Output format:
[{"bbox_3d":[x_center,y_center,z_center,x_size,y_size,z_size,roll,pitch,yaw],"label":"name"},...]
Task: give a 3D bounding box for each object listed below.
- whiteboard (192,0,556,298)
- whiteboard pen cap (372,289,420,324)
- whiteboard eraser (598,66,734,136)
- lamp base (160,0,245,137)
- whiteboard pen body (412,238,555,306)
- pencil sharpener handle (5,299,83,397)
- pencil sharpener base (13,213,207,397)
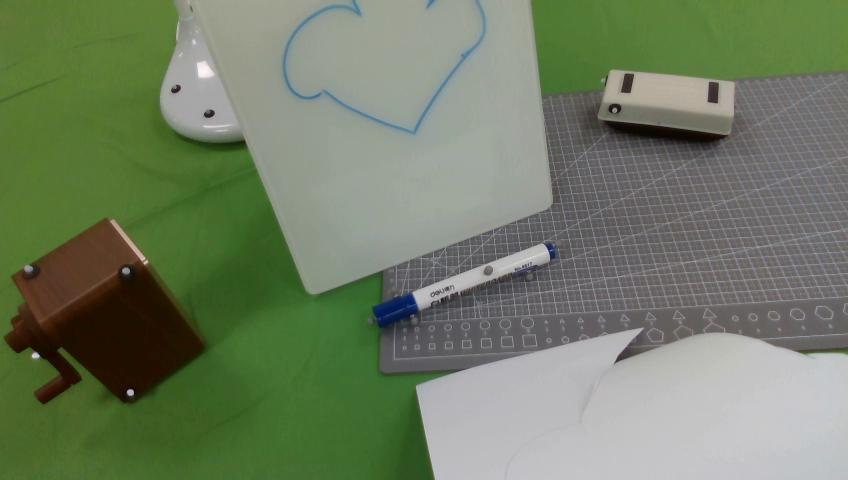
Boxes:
[{"bbox_3d":[-0.041,-0.149,0.466,0.217,0.308,0.142,-20,32,-9],"label":"whiteboard"},{"bbox_3d":[-0.020,0.048,0.446,0.033,0.018,0.018,-21,52,-9],"label":"whiteboard pen cap"},{"bbox_3d":[0.218,-0.125,0.548,0.112,0.042,0.055,11,54,15],"label":"whiteboard eraser"},{"bbox_3d":[-0.212,-0.218,0.584,0.177,0.182,0.160,30,60,30],"label":"lamp base"},{"bbox_3d":[0.034,0.028,0.455,0.141,0.017,0.017,-20,51,-9],"label":"whiteboard pen body"},{"bbox_3d":[-0.247,0.071,0.384,0.030,0.068,0.035,-38,44,-22],"label":"pencil sharpener handle"},{"bbox_3d":[-0.211,0.048,0.415,0.076,0.108,0.061,-38,57,-22],"label":"pencil sharpener base"}]
